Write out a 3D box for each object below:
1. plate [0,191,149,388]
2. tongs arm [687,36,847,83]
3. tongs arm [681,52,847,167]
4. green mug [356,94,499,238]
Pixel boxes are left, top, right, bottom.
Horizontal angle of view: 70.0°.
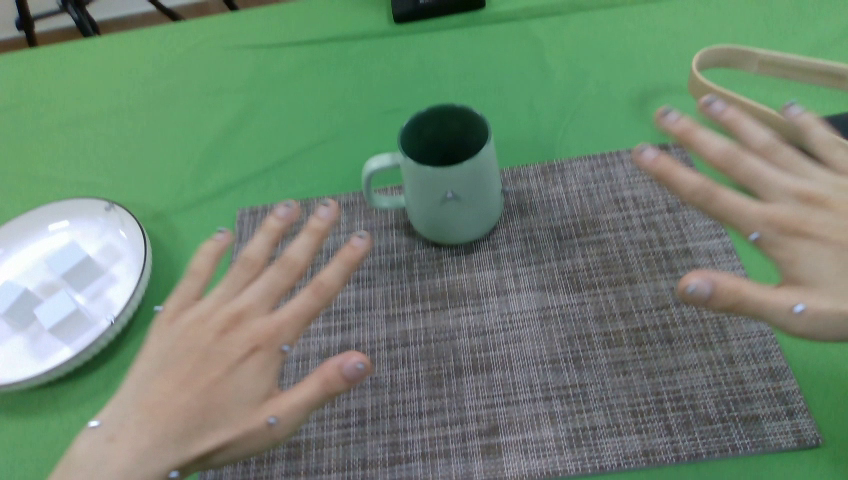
[{"bbox_3d":[-0.356,0.045,0.567,0.209,0.038,0.207,-4,54,6],"label":"plate"},{"bbox_3d":[0.416,-0.114,0.499,0.382,0.027,0.050,24,66,24],"label":"tongs arm"},{"bbox_3d":[0.370,-0.058,0.470,0.384,0.028,0.028,36,75,29],"label":"tongs arm"},{"bbox_3d":[0.003,-0.060,0.536,0.125,0.106,0.091,-10,54,3],"label":"green mug"}]
